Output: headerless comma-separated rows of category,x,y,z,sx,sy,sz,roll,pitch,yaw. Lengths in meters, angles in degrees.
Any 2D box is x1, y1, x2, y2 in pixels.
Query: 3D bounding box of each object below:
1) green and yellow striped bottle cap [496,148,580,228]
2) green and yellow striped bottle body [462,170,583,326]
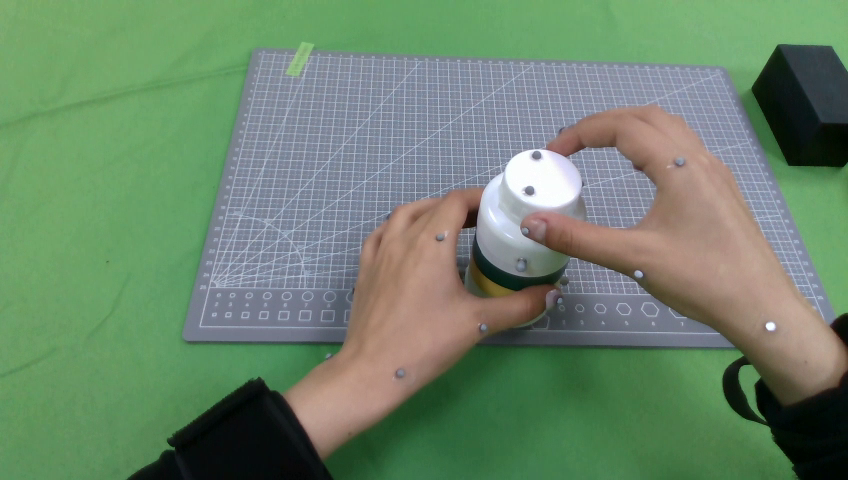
green and yellow striped bottle cap,0.064,-0.030,0.337,0.045,0.020,0.045,2,55,-2
green and yellow striped bottle body,0.060,0.000,0.379,0.063,0.120,0.062,2,55,-2
